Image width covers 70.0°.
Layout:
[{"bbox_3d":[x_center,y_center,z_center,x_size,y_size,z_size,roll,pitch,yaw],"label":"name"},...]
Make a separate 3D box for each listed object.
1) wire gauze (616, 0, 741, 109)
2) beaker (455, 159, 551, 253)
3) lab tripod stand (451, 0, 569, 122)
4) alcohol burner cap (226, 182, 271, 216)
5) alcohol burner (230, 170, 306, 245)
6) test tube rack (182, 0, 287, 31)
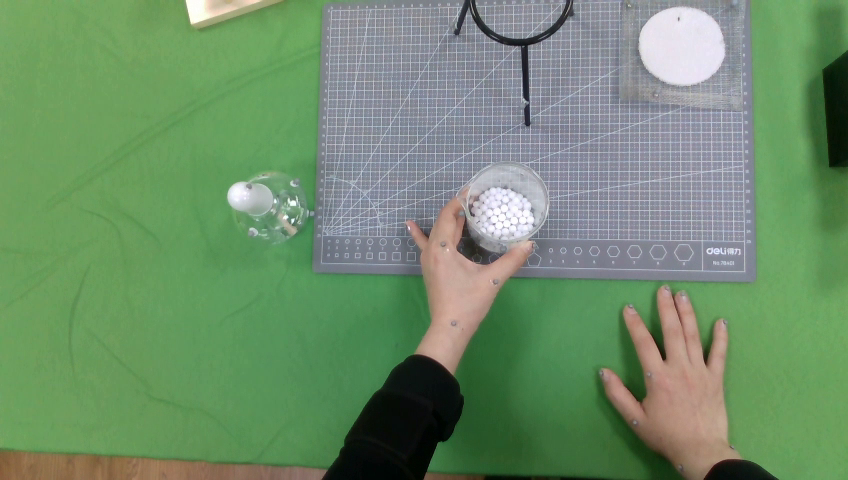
[{"bbox_3d":[0.261,-0.198,0.621,0.125,0.011,0.121,5,85,5],"label":"wire gauze"},{"bbox_3d":[0.071,-0.028,0.574,0.084,0.100,0.074,9,82,5],"label":"beaker"},{"bbox_3d":[0.090,-0.201,0.579,0.148,0.132,0.148,0,85,6],"label":"lab tripod stand"},{"bbox_3d":[-0.169,-0.040,0.573,0.034,0.048,0.034,0,88,7],"label":"alcohol burner cap"},{"bbox_3d":[-0.163,-0.036,0.609,0.078,0.119,0.077,-1,82,6],"label":"alcohol burner"},{"bbox_3d":[-0.162,-0.309,0.647,0.242,0.085,0.066,-16,83,5],"label":"test tube rack"}]
